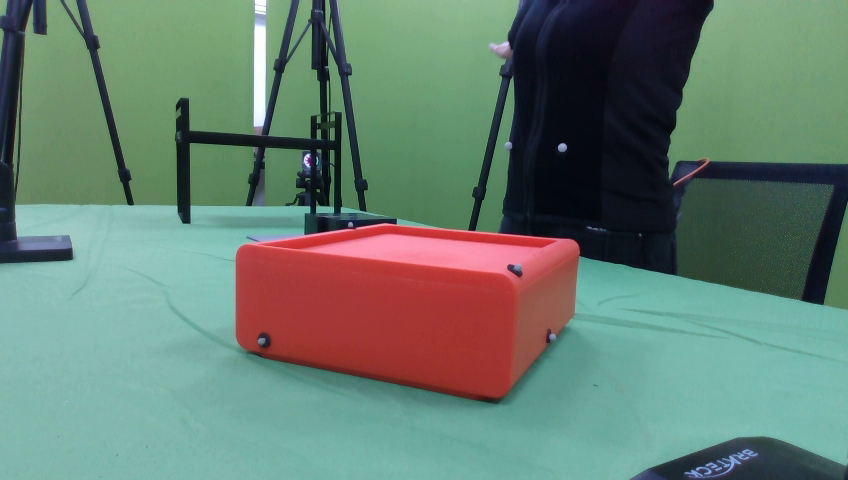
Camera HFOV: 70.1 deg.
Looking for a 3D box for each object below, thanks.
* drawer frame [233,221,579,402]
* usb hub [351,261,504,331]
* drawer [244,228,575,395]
[{"bbox_3d":[0.001,0.038,0.475,0.201,0.082,0.214,6,9,22],"label":"drawer frame"},{"bbox_3d":[0.002,0.046,0.510,0.124,0.025,0.050,16,0,29],"label":"usb hub"},{"bbox_3d":[0.003,0.042,0.477,0.194,0.073,0.212,6,10,22],"label":"drawer"}]
